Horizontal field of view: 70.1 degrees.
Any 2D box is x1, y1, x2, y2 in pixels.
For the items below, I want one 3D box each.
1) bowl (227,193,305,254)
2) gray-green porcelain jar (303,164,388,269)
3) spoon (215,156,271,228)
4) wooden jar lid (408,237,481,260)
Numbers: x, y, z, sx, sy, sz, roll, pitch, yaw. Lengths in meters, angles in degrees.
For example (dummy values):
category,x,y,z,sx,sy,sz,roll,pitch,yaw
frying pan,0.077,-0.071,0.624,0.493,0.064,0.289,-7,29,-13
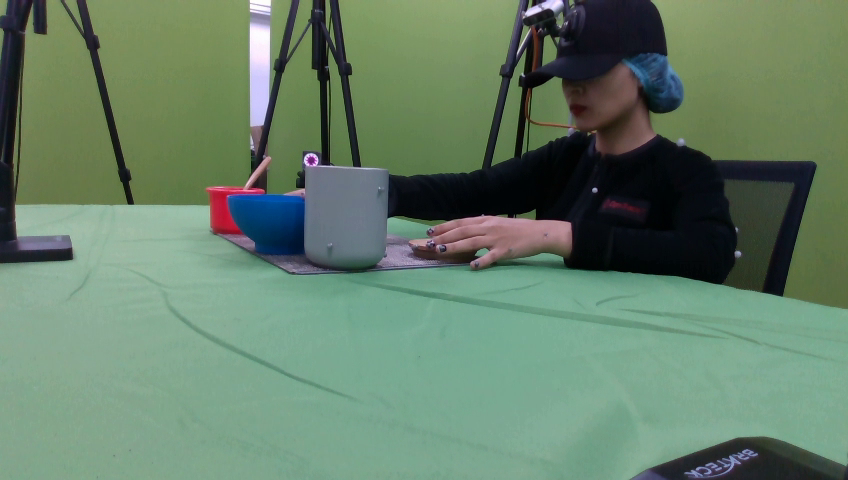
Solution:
category,x,y,z,sx,sy,sz,roll,pitch,yaw
bowl,-0.204,-0.024,0.867,0.151,0.077,0.151,3,7,0
gray-green porcelain jar,-0.099,-0.031,0.770,0.106,0.126,0.106,2,7,0
spoon,-0.319,-0.090,1.091,0.041,0.022,0.193,7,52,17
wooden jar lid,0.030,0.013,0.896,0.108,0.020,0.108,4,9,0
